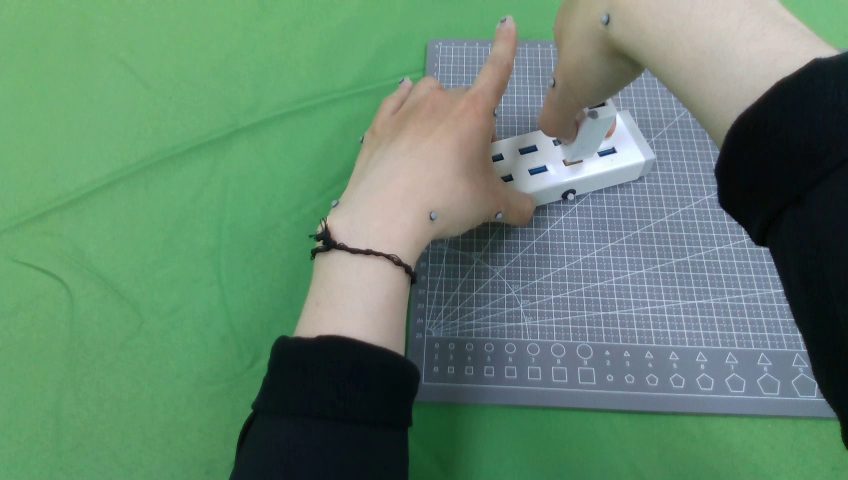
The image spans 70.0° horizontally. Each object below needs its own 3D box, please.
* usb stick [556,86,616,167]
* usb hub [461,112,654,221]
[{"bbox_3d":[0.102,-0.069,0.392,0.021,0.059,0.027,-18,63,-11],"label":"usb stick"},{"bbox_3d":[0.092,-0.053,0.424,0.125,0.025,0.049,-14,62,-8],"label":"usb hub"}]
